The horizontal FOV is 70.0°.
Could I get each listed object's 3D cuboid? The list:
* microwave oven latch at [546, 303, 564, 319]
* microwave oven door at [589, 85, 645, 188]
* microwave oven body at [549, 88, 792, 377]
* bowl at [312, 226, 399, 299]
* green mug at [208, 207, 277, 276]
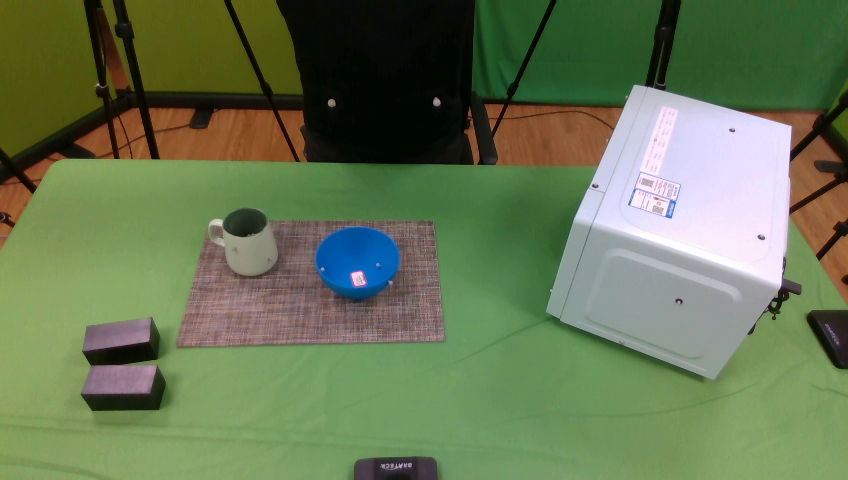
[{"bbox_3d":[0.242,0.102,1.081,0.030,0.029,0.079,21,48,17],"label":"microwave oven latch"},{"bbox_3d":[0.342,-0.107,1.149,0.039,0.245,0.354,20,48,15],"label":"microwave oven door"},{"bbox_3d":[0.456,-0.028,1.088,0.325,0.261,0.440,20,47,16],"label":"microwave oven body"},{"bbox_3d":[-0.121,0.054,1.091,0.151,0.077,0.150,2,46,-2],"label":"bowl"},{"bbox_3d":[-0.335,0.000,1.108,0.125,0.105,0.092,14,47,9],"label":"green mug"}]
